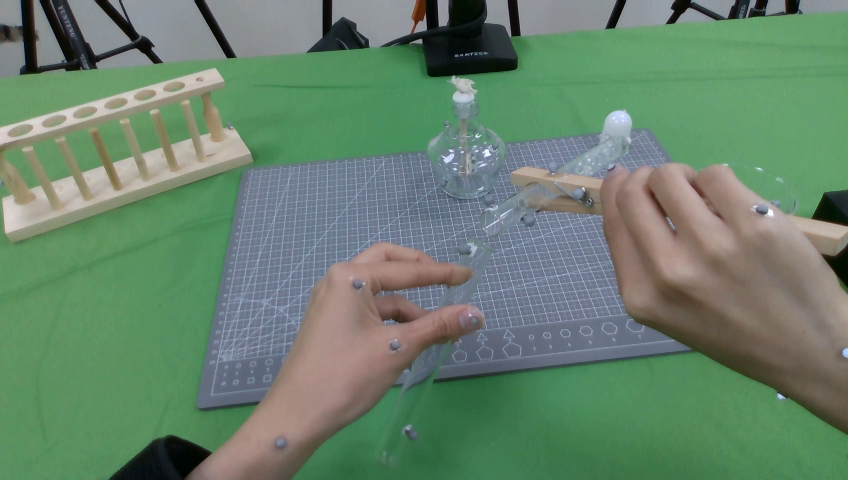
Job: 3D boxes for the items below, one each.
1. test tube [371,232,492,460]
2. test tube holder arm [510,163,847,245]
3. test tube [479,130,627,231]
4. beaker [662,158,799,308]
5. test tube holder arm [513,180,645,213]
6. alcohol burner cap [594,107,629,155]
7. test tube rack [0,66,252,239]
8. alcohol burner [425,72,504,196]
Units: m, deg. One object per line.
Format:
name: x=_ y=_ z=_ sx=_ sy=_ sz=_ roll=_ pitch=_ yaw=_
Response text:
test tube: x=0.002 y=0.064 z=0.350 sx=0.017 sy=0.151 sz=0.017 roll=22 pitch=13 yaw=-5
test tube holder arm: x=0.111 y=-0.022 z=0.305 sx=0.015 sy=0.013 sz=0.177 roll=-29 pitch=28 yaw=-29
test tube: x=0.085 y=-0.040 z=0.373 sx=0.017 sy=0.017 sz=0.150 roll=31 pitch=43 yaw=31
beaker: x=0.229 y=-0.004 z=0.473 sx=0.074 sy=0.101 sz=0.083 roll=-27 pitch=47 yaw=-23
test tube holder arm: x=0.085 y=-0.025 z=0.342 sx=0.015 sy=0.010 sz=0.087 roll=-29 pitch=23 yaw=-29
alcohol burner cap: x=0.199 y=-0.118 z=0.638 sx=0.034 sy=0.048 sz=0.033 roll=-2 pitch=43 yaw=2
test tube rack: x=-0.312 y=-0.094 z=0.617 sx=0.243 sy=0.086 sz=0.066 roll=-23 pitch=47 yaw=-20
alcohol burner: x=0.038 y=-0.103 z=0.580 sx=0.078 sy=0.120 sz=0.077 roll=-3 pitch=42 yaw=3
